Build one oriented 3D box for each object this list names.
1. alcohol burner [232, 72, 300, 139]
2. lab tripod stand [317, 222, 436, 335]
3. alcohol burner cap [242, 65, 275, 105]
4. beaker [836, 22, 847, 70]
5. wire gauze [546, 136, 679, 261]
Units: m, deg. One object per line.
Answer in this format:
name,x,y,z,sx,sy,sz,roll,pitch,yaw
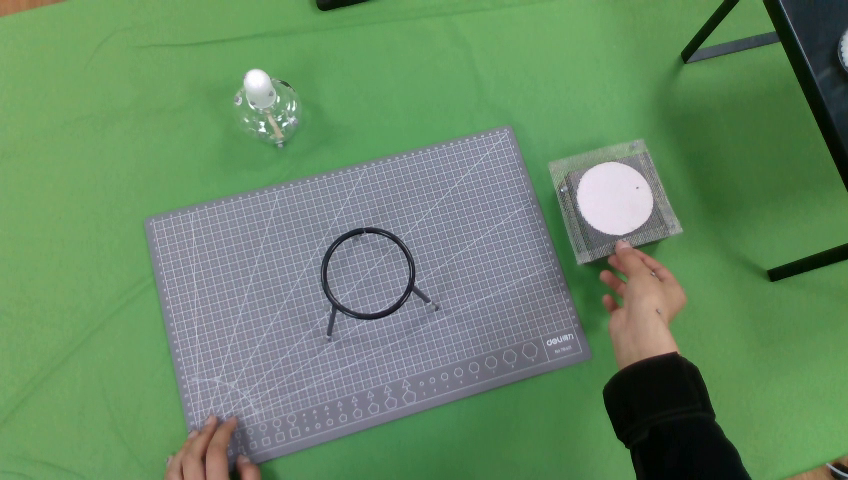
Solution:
alcohol burner,-0.180,-0.161,0.683,0.078,0.119,0.077,1,77,-5
lab tripod stand,-0.055,0.041,0.632,0.148,0.132,0.147,1,76,-4
alcohol burner cap,-0.179,-0.168,0.649,0.034,0.048,0.033,1,81,-8
beaker,0.439,-0.196,0.552,0.084,0.100,0.073,-29,80,-9
wire gauze,0.211,-0.051,0.686,0.121,0.011,0.124,-15,78,-4
